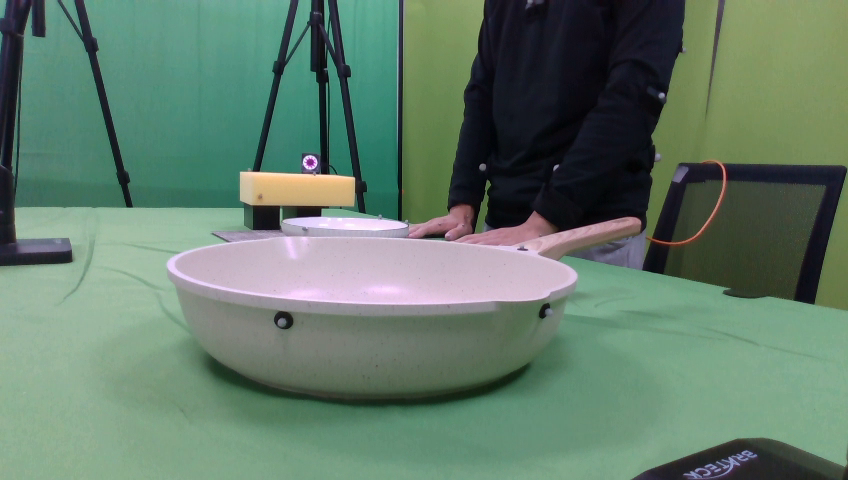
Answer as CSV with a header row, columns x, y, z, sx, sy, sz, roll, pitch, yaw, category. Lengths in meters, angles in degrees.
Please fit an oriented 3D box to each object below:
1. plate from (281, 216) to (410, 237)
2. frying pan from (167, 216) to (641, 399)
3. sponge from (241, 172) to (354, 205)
x,y,z,sx,sy,sz,roll,pitch,yaw,category
-0.126,-0.012,0.986,0.208,0.039,0.207,2,7,0,plate
0.046,0.024,0.519,0.490,0.102,0.305,-13,16,-37,frying pan
-0.257,-0.104,1.226,0.208,0.061,0.117,-2,8,-28,sponge
